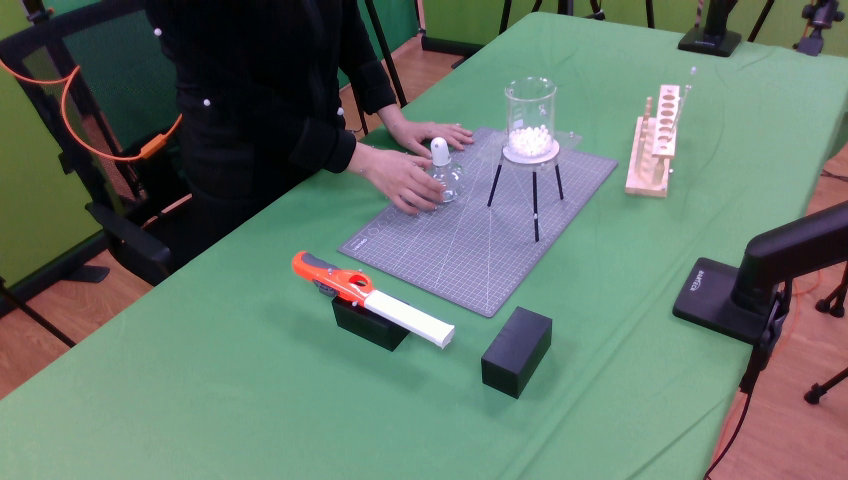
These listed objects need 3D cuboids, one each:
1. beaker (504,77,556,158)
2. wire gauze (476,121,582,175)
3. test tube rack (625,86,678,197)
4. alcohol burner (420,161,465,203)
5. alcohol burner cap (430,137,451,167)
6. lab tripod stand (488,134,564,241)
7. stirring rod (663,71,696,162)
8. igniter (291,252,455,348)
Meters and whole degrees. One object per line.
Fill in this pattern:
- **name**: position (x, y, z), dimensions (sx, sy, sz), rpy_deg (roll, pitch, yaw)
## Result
- **beaker**: position (0.160, -0.181, 0.900), dimensions (0.084, 0.101, 0.073), rpy_deg (-33, 46, -27)
- **wire gauze**: position (0.162, -0.141, 0.929), dimensions (0.120, 0.011, 0.125), rpy_deg (19, 49, 32)
- **test tube rack**: position (0.412, -0.184, 1.088), dimensions (0.066, 0.085, 0.242), rpy_deg (9, 43, 18)
- **alcohol burner**: position (0.030, -0.124, 1.044), dimensions (0.078, 0.119, 0.077), rpy_deg (-5, 42, 5)
- **alcohol burner cap**: position (0.027, -0.151, 1.021), dimensions (0.034, 0.048, 0.033), rpy_deg (-7, 43, 7)
- **lab tripod stand**: position (0.168, -0.092, 0.972), dimensions (0.148, 0.132, 0.147), rpy_deg (-5, 41, 5)
- **stirring rod**: position (0.410, -0.195, 0.981), dimensions (0.014, 0.177, 0.006), rpy_deg (11, 50, 13)
- **igniter**: position (-0.080, 0.076, 0.822), dimensions (0.274, 0.025, 0.057), rpy_deg (23, 46, 27)
